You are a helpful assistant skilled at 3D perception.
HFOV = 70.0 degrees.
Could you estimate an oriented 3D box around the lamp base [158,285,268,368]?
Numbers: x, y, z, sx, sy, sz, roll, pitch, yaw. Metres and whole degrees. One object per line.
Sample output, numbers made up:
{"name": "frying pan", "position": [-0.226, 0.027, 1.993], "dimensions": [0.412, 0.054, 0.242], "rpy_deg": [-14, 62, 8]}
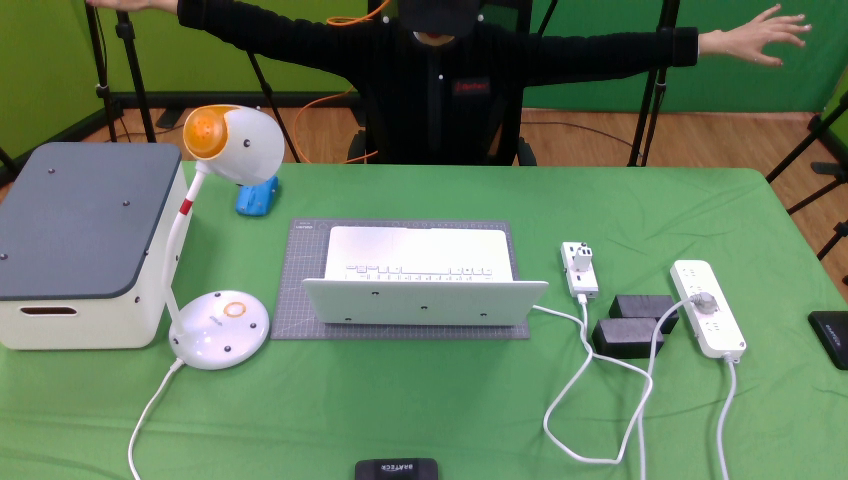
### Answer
{"name": "lamp base", "position": [-0.348, 0.102, 0.963], "dimensions": [0.160, 0.181, 0.178], "rpy_deg": [23, 51, 18]}

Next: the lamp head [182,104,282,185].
{"name": "lamp head", "position": [-0.271, -0.133, 0.825], "dimensions": [0.112, 0.112, 0.123], "rpy_deg": [20, 8, 15]}

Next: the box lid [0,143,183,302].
{"name": "box lid", "position": [-0.567, -0.045, 0.999], "dimensions": [0.263, 0.015, 0.369], "rpy_deg": [-1, 46, -4]}

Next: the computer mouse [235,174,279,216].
{"name": "computer mouse", "position": [-0.346, -0.099, 1.258], "dimensions": [0.063, 0.041, 0.116], "rpy_deg": [8, 50, 2]}

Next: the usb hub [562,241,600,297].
{"name": "usb hub", "position": [0.300, 0.055, 1.162], "dimensions": [0.049, 0.025, 0.124], "rpy_deg": [2, 46, -3]}

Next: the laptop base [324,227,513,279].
{"name": "laptop base", "position": [-0.009, 0.062, 1.137], "dimensions": [0.354, 0.023, 0.234], "rpy_deg": [1, 42, -3]}

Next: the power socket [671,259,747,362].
{"name": "power socket", "position": [0.516, 0.119, 1.108], "dimensions": [0.072, 0.033, 0.225], "rpy_deg": [0, 46, -2]}

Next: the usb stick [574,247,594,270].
{"name": "usb stick", "position": [0.298, 0.040, 1.135], "dimensions": [0.027, 0.059, 0.021], "rpy_deg": [2, 46, -4]}

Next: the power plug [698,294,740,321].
{"name": "power plug", "position": [0.515, 0.127, 1.070], "dimensions": [0.035, 0.053, 0.072], "rpy_deg": [-18, 56, -7]}

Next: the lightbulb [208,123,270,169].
{"name": "lightbulb", "position": [-0.260, -0.136, 0.848], "dimensions": [0.059, 0.108, 0.059], "rpy_deg": [-4, 77, 21]}

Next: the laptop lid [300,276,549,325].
{"name": "laptop lid", "position": [-0.002, 0.100, 0.947], "dimensions": [0.357, 0.242, 0.013], "rpy_deg": [1, 67, -4]}

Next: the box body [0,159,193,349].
{"name": "box body", "position": [-0.570, 0.006, 1.054], "dimensions": [0.254, 0.161, 0.361], "rpy_deg": [-1, 46, -4]}
